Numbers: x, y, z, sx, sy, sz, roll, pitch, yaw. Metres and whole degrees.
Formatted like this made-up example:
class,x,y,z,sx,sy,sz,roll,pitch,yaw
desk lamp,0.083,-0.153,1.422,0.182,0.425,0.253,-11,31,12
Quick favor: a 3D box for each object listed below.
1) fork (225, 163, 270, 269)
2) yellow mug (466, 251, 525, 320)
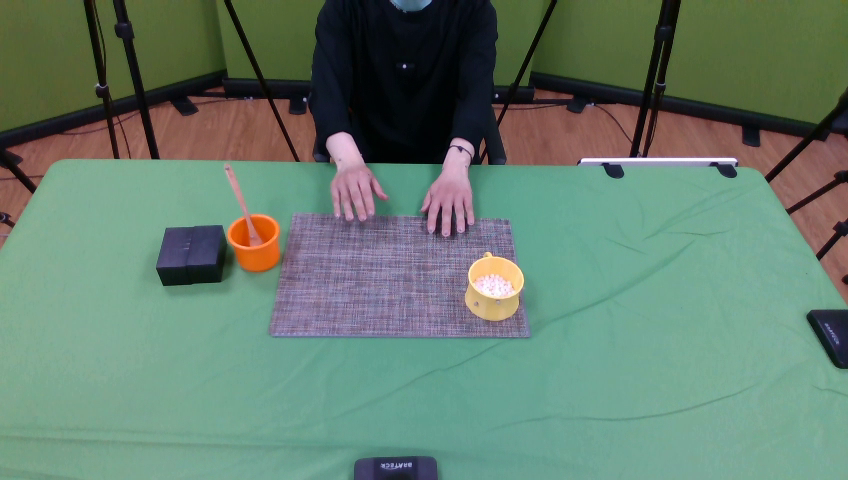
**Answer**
class,x,y,z,sx,sy,sz,roll,pitch,yaw
fork,-0.331,-0.045,1.127,0.028,0.018,0.207,-20,94,-23
yellow mug,0.125,0.074,1.096,0.100,0.064,0.130,-4,45,-7
